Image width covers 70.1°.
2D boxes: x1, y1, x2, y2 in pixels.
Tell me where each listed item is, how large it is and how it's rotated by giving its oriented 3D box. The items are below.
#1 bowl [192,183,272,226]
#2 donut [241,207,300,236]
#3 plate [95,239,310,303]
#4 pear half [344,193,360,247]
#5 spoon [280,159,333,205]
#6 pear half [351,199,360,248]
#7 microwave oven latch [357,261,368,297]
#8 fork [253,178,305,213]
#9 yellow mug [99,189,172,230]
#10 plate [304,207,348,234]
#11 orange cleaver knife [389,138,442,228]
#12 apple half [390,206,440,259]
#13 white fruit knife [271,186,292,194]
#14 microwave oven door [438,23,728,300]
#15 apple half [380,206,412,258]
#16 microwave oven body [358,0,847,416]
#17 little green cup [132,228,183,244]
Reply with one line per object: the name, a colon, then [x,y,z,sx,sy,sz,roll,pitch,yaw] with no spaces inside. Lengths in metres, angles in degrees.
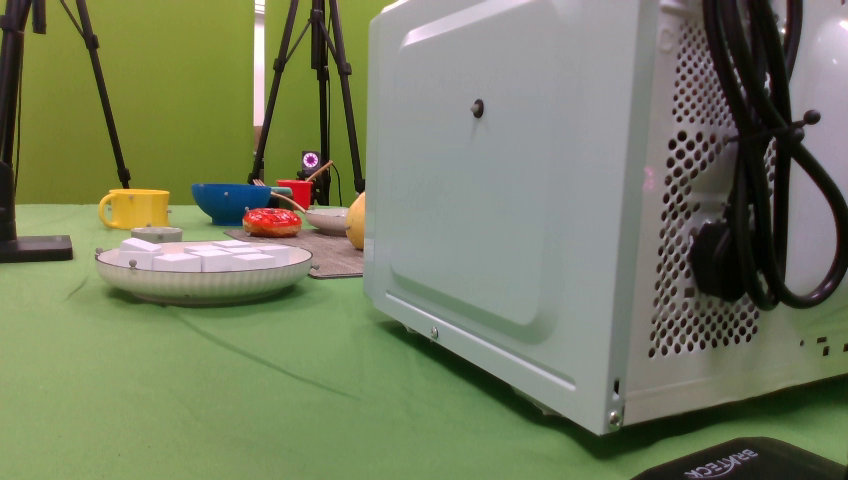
bowl: [-0.381,-0.070,1.202,0.151,0.077,0.151,3,7,0]
donut: [-0.263,-0.031,1.039,0.099,0.048,0.099,4,10,0]
plate: [-0.224,0.031,0.629,0.208,0.039,0.207,2,7,0]
pear half: [-0.104,-0.033,0.928,0.031,0.088,0.070,5,13,18]
spoon: [-0.316,-0.158,1.639,0.194,0.022,0.041,-49,32,-20]
pear half: [-0.071,-0.040,0.914,0.056,0.110,0.076,5,12,18]
microwave oven latch: [-0.019,0.033,0.531,0.079,0.029,0.030,-1,7,-27]
fork: [-0.294,-0.084,1.293,0.206,0.018,0.028,29,11,26]
yellow mug: [-0.518,-0.055,1.080,0.099,0.064,0.131,6,9,26]
plate: [-0.123,-0.037,1.149,0.209,0.038,0.209,2,7,0]
orange cleaver knife: [-0.011,-0.064,0.887,0.012,0.077,0.212,5,-30,21]
apple half: [-0.006,-0.009,0.838,0.053,0.074,0.081,9,5,23]
white fruit knife: [-0.399,-0.111,1.368,0.208,0.016,0.027,-4,-20,-29]
microwave oven door: [0.181,-0.072,0.621,0.358,0.243,0.039,-2,8,-29]
apple half: [-0.044,-0.013,0.852,0.032,0.081,0.081,5,8,21]
microwave oven body: [0.211,-0.047,0.475,0.444,0.260,0.324,-1,8,-28]
little green cup: [-0.342,0.006,0.779,0.061,0.038,0.061,2,8,0]
